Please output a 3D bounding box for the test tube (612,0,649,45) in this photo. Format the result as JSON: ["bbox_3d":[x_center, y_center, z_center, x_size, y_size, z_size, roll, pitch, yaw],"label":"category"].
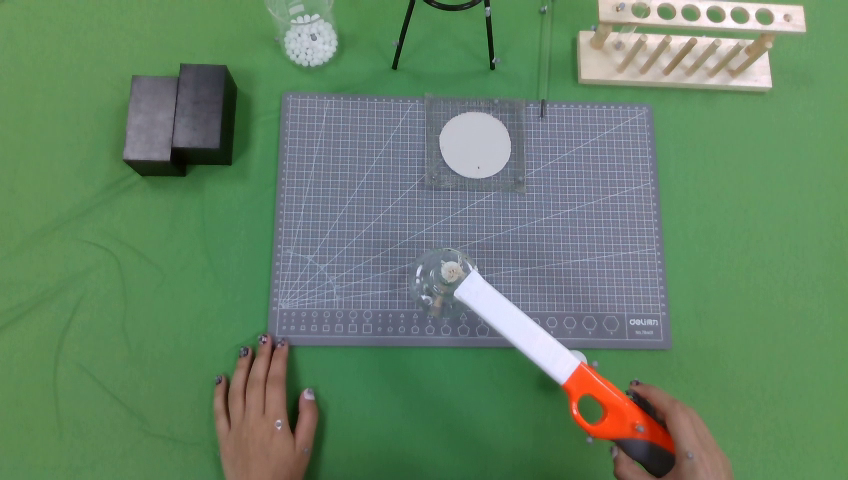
[{"bbox_3d":[0.242,-0.267,0.680,0.017,0.151,0.017,1,73,-2],"label":"test tube"}]

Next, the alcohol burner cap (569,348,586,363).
[{"bbox_3d":[0.159,0.133,0.657,0.034,0.048,0.033,1,76,-2],"label":"alcohol burner cap"}]

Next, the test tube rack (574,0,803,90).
[{"bbox_3d":[0.313,-0.235,0.728,0.242,0.085,0.066,1,77,-3],"label":"test tube rack"}]

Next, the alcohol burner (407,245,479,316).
[{"bbox_3d":[0.022,0.039,0.630,0.078,0.119,0.077,1,75,-5],"label":"alcohol burner"}]

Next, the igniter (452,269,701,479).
[{"bbox_3d":[0.138,0.127,0.548,0.276,0.025,0.057,41,83,6],"label":"igniter"}]

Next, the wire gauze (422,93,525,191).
[{"bbox_3d":[0.058,-0.119,0.722,0.125,0.011,0.121,3,76,-2],"label":"wire gauze"}]

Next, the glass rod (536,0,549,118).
[{"bbox_3d":[0.150,-0.246,0.758,0.008,0.008,0.199,6,78,-2],"label":"glass rod"}]

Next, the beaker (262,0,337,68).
[{"bbox_3d":[-0.136,-0.252,0.696,0.084,0.100,0.074,-38,82,-12],"label":"beaker"}]

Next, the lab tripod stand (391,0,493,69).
[{"bbox_3d":[0.022,-0.267,0.692,0.148,0.132,0.147,0,76,-1],"label":"lab tripod stand"}]
